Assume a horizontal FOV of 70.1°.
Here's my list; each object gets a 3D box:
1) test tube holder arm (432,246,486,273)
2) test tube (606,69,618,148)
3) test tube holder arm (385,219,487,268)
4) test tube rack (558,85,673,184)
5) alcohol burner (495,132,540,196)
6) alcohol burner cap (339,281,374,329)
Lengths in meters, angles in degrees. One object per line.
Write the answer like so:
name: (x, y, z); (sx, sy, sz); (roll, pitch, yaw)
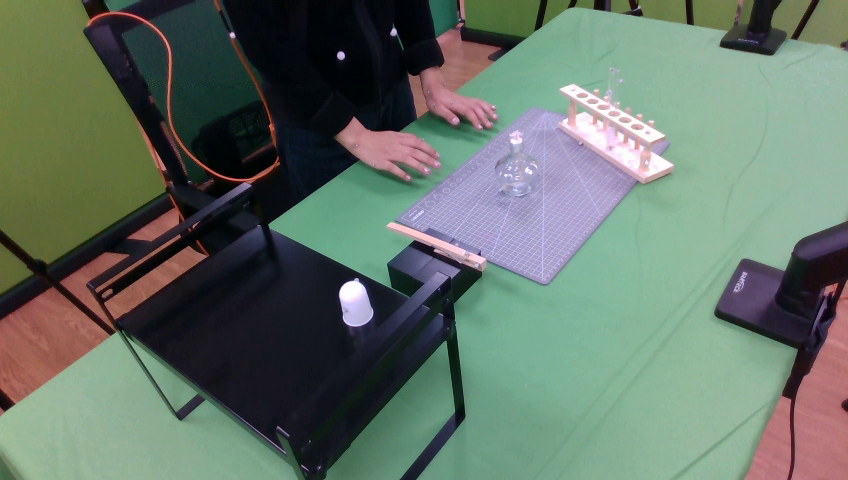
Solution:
test tube holder arm: (0.050, 0.024, 0.870); (0.087, 0.010, 0.015); (26, 40, 29)
test tube: (0.330, -0.228, 1.064); (0.017, 0.151, 0.017); (-7, 39, 6)
test tube holder arm: (0.014, 0.003, 0.888); (0.177, 0.013, 0.015); (25, 40, 29)
test tube rack: (0.347, -0.203, 1.109); (0.067, 0.085, 0.240); (-22, 42, -17)
alcohol burner: (0.159, -0.135, 1.035); (0.078, 0.119, 0.077); (-5, 42, 5)
alcohol burner cap: (-0.071, 0.063, 0.616); (0.034, 0.048, 0.033); (-5, 39, 4)
